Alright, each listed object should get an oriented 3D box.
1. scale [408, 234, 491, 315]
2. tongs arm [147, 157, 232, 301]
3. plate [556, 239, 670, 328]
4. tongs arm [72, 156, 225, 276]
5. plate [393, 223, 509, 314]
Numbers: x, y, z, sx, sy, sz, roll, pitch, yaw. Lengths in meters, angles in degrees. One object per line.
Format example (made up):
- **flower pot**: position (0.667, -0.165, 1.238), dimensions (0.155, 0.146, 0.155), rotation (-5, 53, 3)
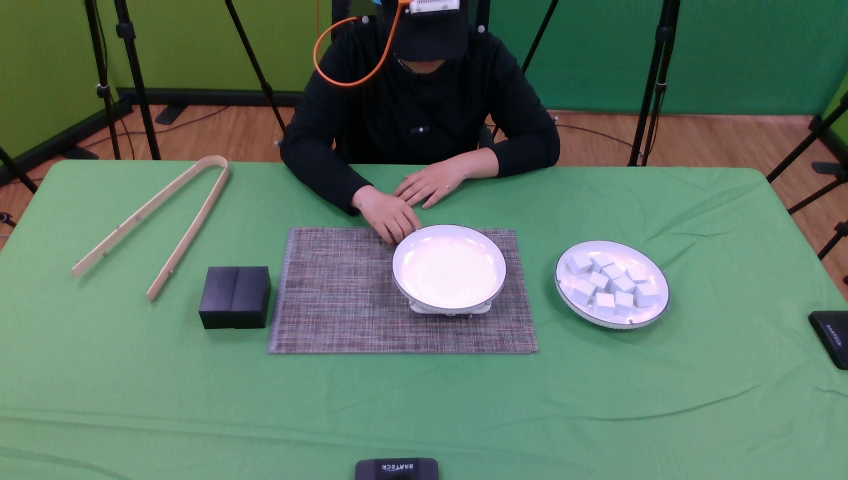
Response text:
- **scale**: position (0.045, 0.055, 1.135), dimensions (0.149, 0.032, 0.199), rotation (1, 46, -3)
- **tongs arm**: position (-0.453, -0.034, 1.193), dimensions (0.028, 0.028, 0.385), rotation (7, 46, 6)
- **plate**: position (0.347, 0.083, 1.130), dimensions (0.209, 0.038, 0.208), rotation (2, 47, -2)
- **tongs arm**: position (-0.531, -0.057, 1.204), dimensions (0.050, 0.026, 0.383), rotation (19, 47, 13)
- **plate**: position (0.048, 0.053, 1.092), dimensions (0.208, 0.039, 0.206), rotation (1, 46, -1)
